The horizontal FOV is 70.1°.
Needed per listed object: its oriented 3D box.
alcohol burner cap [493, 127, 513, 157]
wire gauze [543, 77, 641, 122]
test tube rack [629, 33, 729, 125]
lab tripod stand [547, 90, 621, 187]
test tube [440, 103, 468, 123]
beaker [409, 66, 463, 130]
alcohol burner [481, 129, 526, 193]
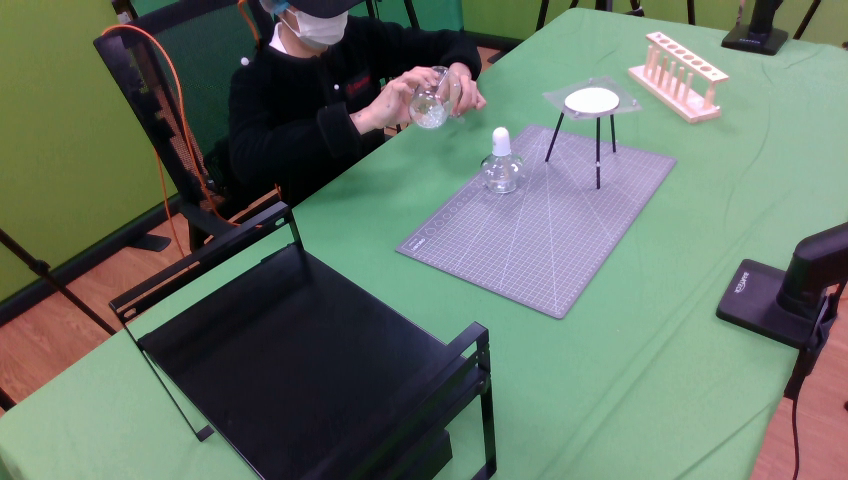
[{"bbox_3d":[0.132,-0.169,1.030,0.034,0.048,0.033,-7,36,5],"label":"alcohol burner cap"},{"bbox_3d":[0.282,-0.236,1.020,0.125,0.011,0.120,-15,40,-6],"label":"wire gauze"},{"bbox_3d":[0.516,-0.337,1.248,0.067,0.085,0.240,-14,41,-7],"label":"test tube rack"},{"bbox_3d":[0.289,-0.184,1.062,0.148,0.132,0.147,-6,41,6],"label":"lab tripod stand"},{"bbox_3d":[0.060,-0.243,1.168,0.017,0.017,0.151,8,4,18],"label":"test tube"},{"bbox_3d":[0.019,-0.240,1.041,0.073,0.084,0.100,4,40,17],"label":"beaker"},{"bbox_3d":[0.138,-0.142,1.052,0.078,0.119,0.077,-5,42,5],"label":"alcohol burner"}]
